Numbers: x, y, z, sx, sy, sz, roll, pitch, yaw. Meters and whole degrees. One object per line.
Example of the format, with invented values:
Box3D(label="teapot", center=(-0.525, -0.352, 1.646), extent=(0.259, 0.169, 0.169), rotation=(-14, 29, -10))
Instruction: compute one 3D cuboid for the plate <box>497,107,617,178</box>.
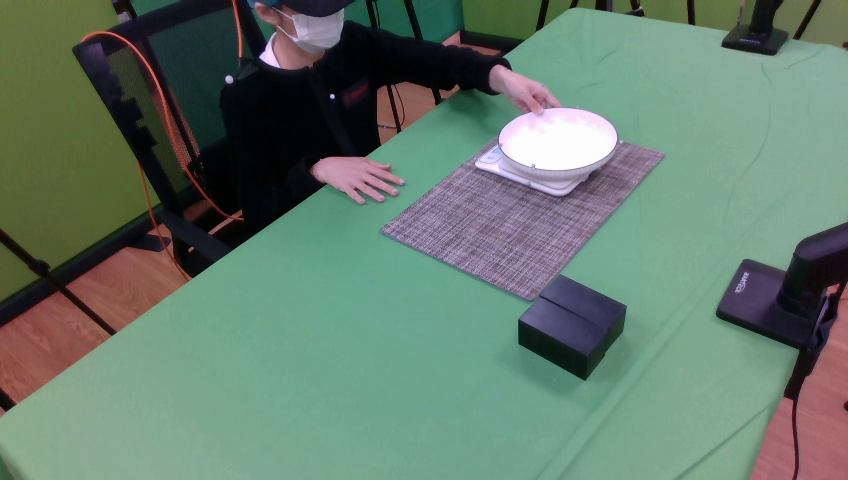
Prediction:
Box3D(label="plate", center=(0.234, -0.170, 1.075), extent=(0.207, 0.039, 0.206), rotation=(-5, 41, 5))

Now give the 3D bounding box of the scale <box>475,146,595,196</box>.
Box3D(label="scale", center=(0.209, -0.148, 1.105), extent=(0.199, 0.032, 0.149), rotation=(26, 50, 34))
